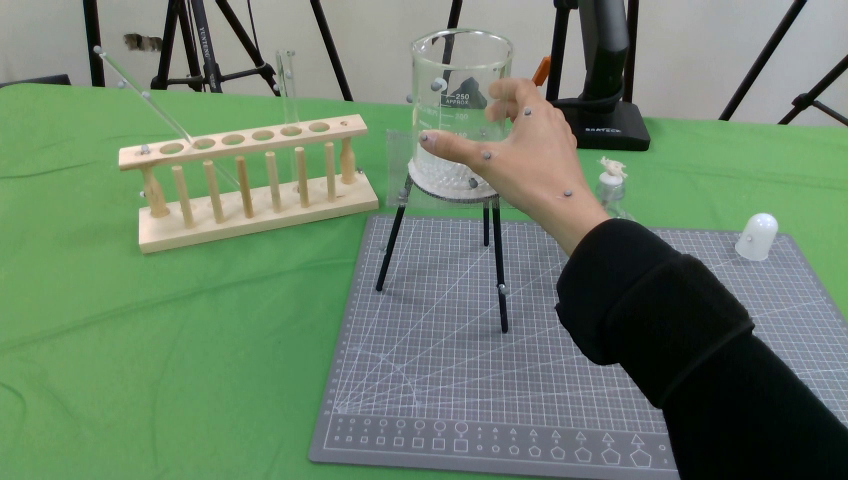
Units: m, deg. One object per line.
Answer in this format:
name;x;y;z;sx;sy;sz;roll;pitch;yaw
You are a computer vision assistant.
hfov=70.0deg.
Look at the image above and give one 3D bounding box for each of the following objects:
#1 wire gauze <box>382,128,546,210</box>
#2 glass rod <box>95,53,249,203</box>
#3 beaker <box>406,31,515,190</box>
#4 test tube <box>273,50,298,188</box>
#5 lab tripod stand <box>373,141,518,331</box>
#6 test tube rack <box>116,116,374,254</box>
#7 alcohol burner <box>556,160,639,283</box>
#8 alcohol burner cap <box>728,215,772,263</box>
wire gauze;0.027;-0.058;0.486;0.125;0.011;0.120;-3;36;0
glass rod;-0.237;-0.100;0.590;0.008;0.202;0.008;-19;44;20
beaker;0.022;-0.096;0.455;0.083;0.101;0.074;23;43;26
test tube;-0.141;-0.121;0.629;0.017;0.151;0.017;2;36;-1
lab tripod stand;0.026;-0.007;0.527;0.148;0.132;0.147;0;40;0
test tube rack;-0.178;-0.061;0.633;0.243;0.086;0.066;-12;40;-17
alcohol burner;0.164;-0.019;0.564;0.078;0.120;0.077;0;37;1
alcohol burner cap;0.329;-0.004;0.608;0.034;0.048;0.033;1;38;0
